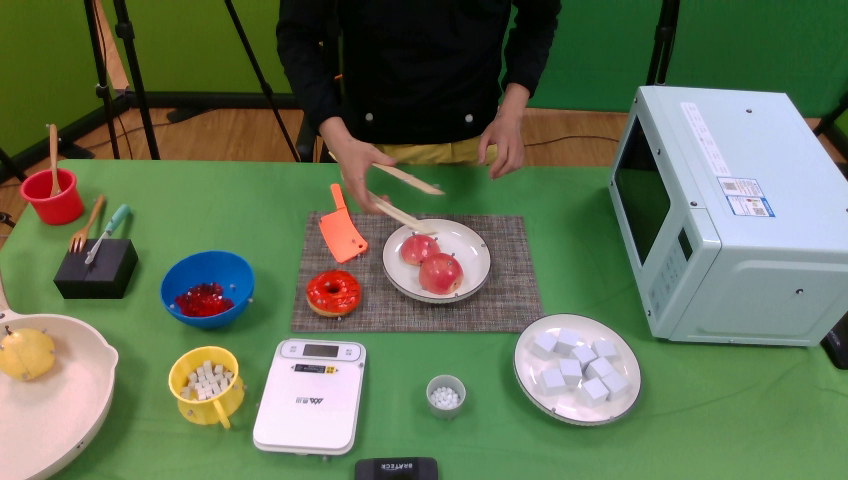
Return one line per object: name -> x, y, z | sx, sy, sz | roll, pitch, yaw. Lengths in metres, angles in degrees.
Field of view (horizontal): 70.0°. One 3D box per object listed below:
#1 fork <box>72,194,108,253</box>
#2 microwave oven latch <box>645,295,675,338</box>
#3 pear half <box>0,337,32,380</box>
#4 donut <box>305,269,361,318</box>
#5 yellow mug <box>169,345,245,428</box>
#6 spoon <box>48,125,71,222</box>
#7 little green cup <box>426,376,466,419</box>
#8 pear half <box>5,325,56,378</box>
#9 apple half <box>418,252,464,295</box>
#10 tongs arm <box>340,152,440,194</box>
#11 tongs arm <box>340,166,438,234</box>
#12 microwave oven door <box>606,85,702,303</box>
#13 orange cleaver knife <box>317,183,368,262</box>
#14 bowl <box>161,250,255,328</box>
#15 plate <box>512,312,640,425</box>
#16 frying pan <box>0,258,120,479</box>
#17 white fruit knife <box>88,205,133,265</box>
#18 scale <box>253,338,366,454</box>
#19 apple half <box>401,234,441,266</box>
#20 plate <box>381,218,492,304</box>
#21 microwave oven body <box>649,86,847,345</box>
fork -> -0.634, -0.036, 1.158 | 0.028, 0.019, 0.206 | -8, 32, -8
microwave oven latch -> 0.412, 0.134, 1.061 | 0.030, 0.029, 0.078 | 3, 45, 0
pear half -> -0.631, 0.184, 0.921 | 0.070, 0.088, 0.031 | 29, 49, 19
donut -> -0.160, 0.094, 1.075 | 0.099, 0.048, 0.098 | 4, 45, -3
yellow mug -> -0.322, 0.230, 0.922 | 0.100, 0.064, 0.130 | -24, 53, -25
spoon -> -0.718, -0.131, 1.188 | 0.041, 0.021, 0.193 | -3, 90, -6
little green cup -> 0.033, 0.248, 0.950 | 0.061, 0.039, 0.061 | 2, 46, -2
pear half -> -0.608, 0.158, 0.935 | 0.076, 0.110, 0.056 | 31, 51, 20
apple half -> 0.033, 0.055, 1.109 | 0.081, 0.053, 0.074 | -30, 59, -28
tongs arm -> -0.072, -0.108, 1.035 | 0.026, 0.051, 0.382 | -8, 22, -25
tongs arm -> -0.073, -0.074, 1.046 | 0.028, 0.028, 0.385 | -11, 23, -23
microwave oven door -> 0.422, -0.094, 1.140 | 0.039, 0.245, 0.353 | 2, 46, -1
orange cleaver knife -> -0.174, -0.037, 1.218 | 0.077, 0.012, 0.210 | -16, 50, -12
bowl -> -0.362, 0.098, 1.040 | 0.151, 0.077, 0.150 | 2, 45, -2
plate -> 0.246, 0.213, 0.999 | 0.208, 0.039, 0.206 | 2, 46, -2
frying pan -> -0.647, 0.164, 0.936 | 0.307, 0.103, 0.485 | -19, 58, -22
white fruit knife -> -0.584, -0.013, 1.129 | 0.016, 0.027, 0.206 | 0, 32, -5
scale -> -0.175, 0.236, 0.951 | 0.149, 0.032, 0.199 | 4, 45, -1
apple half -> -0.005, 0.014, 1.159 | 0.081, 0.033, 0.081 | 5, 44, -4
plate -> 0.023, 0.042, 1.143 | 0.209, 0.038, 0.208 | 2, 46, -2
microwave oven body -> 0.567, -0.053, 1.118 | 0.326, 0.261, 0.439 | 2, 45, -1
